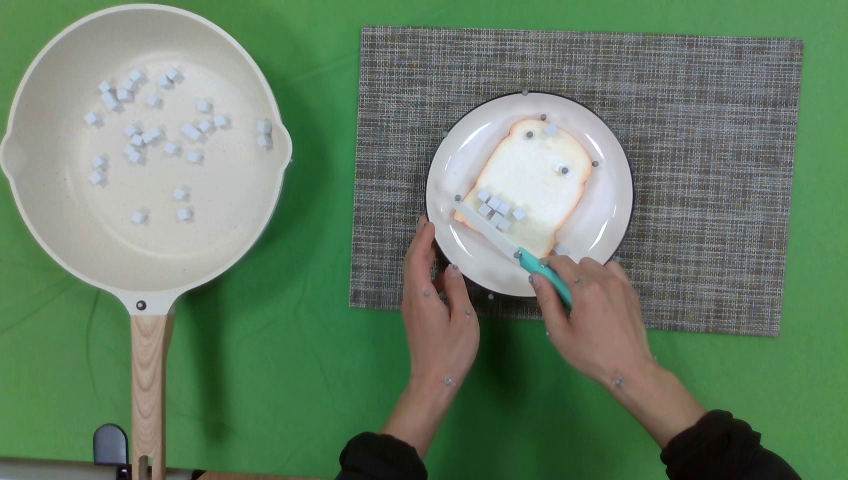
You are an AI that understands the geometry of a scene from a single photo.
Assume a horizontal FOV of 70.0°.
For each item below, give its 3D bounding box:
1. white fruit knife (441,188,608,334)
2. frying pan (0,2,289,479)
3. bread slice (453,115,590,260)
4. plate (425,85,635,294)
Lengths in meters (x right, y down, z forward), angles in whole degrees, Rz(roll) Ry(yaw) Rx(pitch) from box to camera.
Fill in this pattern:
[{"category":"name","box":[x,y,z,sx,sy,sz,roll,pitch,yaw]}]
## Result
[{"category":"white fruit knife","box":[0.093,0.014,0.579,0.206,0.027,0.016,40,56,14]},{"category":"frying pan","box":[-0.281,0.012,0.625,0.306,0.103,0.486,-1,85,6]},{"category":"bread slice","box":[0.104,-0.058,0.620,0.107,0.018,0.134,27,97,2]},{"category":"plate","box":[0.106,-0.050,0.619,0.207,0.039,0.207,0,93,5]}]
